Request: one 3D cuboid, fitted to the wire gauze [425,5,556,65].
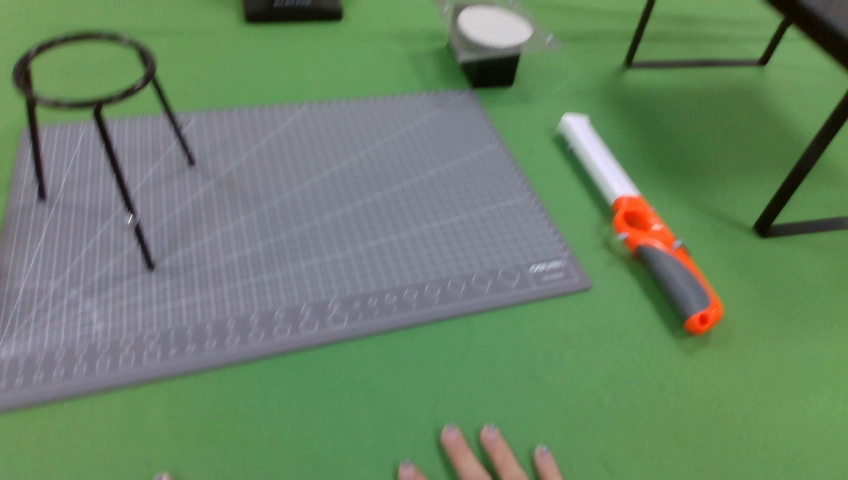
[{"bbox_3d":[0.073,-0.239,0.696,0.122,0.011,0.123,-7,49,-17],"label":"wire gauze"}]

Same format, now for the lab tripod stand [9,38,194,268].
[{"bbox_3d":[-0.238,-0.070,0.461,0.148,0.132,0.147,6,46,-6],"label":"lab tripod stand"}]

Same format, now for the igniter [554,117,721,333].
[{"bbox_3d":[0.190,-0.027,0.564,0.057,0.025,0.273,0,46,-23],"label":"igniter"}]
